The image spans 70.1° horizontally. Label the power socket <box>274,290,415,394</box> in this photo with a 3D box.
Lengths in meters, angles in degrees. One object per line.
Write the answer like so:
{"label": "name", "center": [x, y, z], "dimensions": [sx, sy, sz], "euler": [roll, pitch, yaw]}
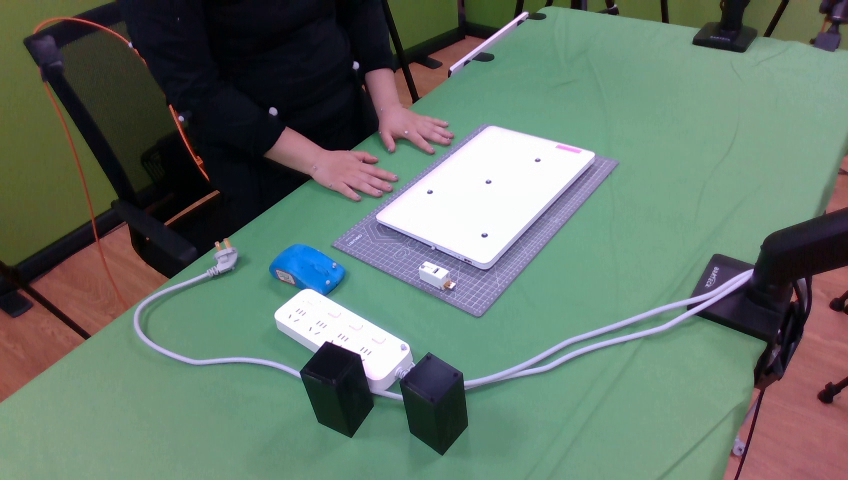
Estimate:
{"label": "power socket", "center": [-0.114, 0.133, 0.820], "dimensions": [0.225, 0.033, 0.072], "euler": [24, 48, 32]}

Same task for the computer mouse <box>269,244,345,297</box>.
{"label": "computer mouse", "center": [-0.182, 0.044, 0.933], "dimensions": [0.116, 0.041, 0.063], "euler": [22, 46, 25]}

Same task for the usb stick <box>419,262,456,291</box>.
{"label": "usb stick", "center": [0.021, 0.056, 0.892], "dimensions": [0.058, 0.027, 0.021], "euler": [25, 46, 30]}

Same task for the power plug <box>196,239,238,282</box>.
{"label": "power plug", "center": [-0.331, 0.030, 0.960], "dimensions": [0.073, 0.035, 0.052], "euler": [-19, 80, -32]}

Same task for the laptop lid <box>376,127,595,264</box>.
{"label": "laptop lid", "center": [0.112, -0.096, 1.051], "dimensions": [0.239, 0.013, 0.358], "euler": [24, 49, 34]}

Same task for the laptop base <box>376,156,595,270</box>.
{"label": "laptop base", "center": [0.115, -0.086, 1.057], "dimensions": [0.233, 0.023, 0.355], "euler": [21, 48, 34]}
